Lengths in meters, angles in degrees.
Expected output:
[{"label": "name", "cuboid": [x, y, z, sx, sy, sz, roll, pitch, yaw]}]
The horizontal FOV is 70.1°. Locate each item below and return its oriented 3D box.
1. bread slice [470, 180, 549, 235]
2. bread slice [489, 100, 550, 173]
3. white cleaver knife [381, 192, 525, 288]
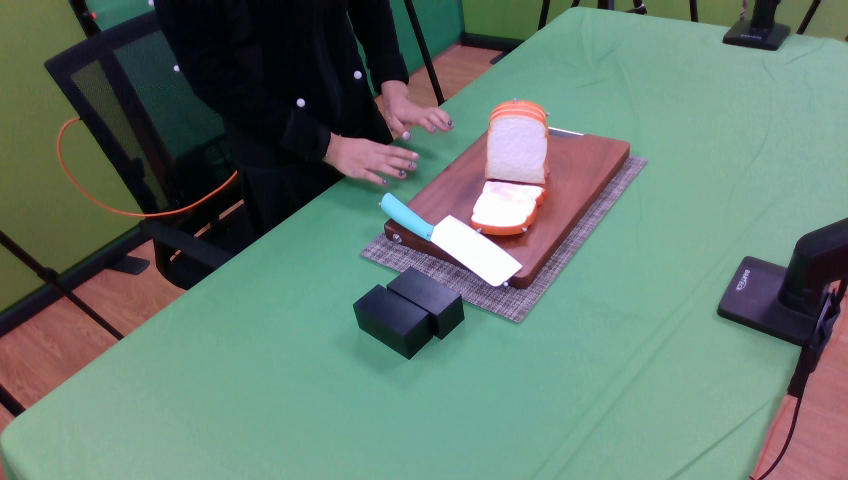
[{"label": "bread slice", "cuboid": [0.131, -0.055, 0.974, 0.106, 0.018, 0.134, 9, 40, 24]}, {"label": "bread slice", "cuboid": [0.164, -0.176, 1.032, 0.104, 0.132, 0.019, 4, 37, 13]}, {"label": "white cleaver knife", "cuboid": [0.037, -0.009, 0.949, 0.066, 0.021, 0.284, -38, 53, -23]}]
